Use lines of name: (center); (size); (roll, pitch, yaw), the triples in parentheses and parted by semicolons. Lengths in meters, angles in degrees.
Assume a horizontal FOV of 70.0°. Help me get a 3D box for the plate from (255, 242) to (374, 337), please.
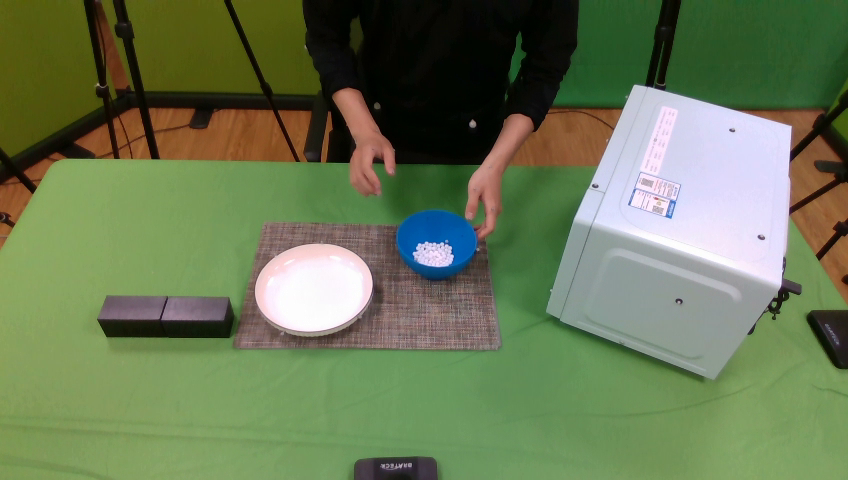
plate: (-0.192, 0.090, 1.079); (0.208, 0.039, 0.206); (2, 46, -2)

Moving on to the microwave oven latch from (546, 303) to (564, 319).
microwave oven latch: (0.242, 0.102, 1.081); (0.030, 0.029, 0.079); (21, 48, 17)

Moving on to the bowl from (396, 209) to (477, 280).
bowl: (0.021, 0.021, 1.134); (0.151, 0.077, 0.150); (2, 46, -2)

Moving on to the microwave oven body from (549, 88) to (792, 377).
microwave oven body: (0.456, -0.028, 1.088); (0.325, 0.261, 0.440); (20, 47, 16)

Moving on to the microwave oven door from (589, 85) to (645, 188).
microwave oven door: (0.342, -0.107, 1.149); (0.039, 0.245, 0.354); (20, 48, 15)
